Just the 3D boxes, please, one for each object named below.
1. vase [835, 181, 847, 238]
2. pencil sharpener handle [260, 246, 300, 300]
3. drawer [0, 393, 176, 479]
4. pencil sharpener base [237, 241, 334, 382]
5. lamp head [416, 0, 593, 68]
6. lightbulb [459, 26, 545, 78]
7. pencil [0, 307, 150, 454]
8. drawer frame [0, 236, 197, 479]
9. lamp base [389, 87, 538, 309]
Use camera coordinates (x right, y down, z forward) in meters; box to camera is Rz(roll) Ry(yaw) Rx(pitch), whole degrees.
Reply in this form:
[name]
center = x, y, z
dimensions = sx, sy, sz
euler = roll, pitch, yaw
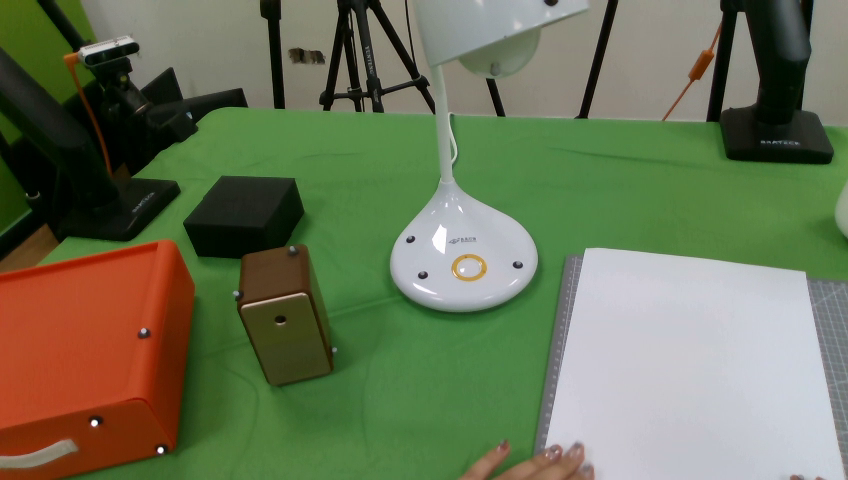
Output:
[vase]
center = 0.466, -0.082, 0.570
dimensions = 0.098, 0.202, 0.097
euler = -5, 37, 4
[pencil sharpener handle]
center = -0.137, 0.026, 0.586
dimensions = 0.036, 0.068, 0.030
euler = -7, 38, -9
[drawer]
center = -0.324, 0.109, 0.554
dimensions = 0.195, 0.074, 0.209
euler = -13, 37, -6
[pencil sharpener base]
center = -0.124, 0.065, 0.554
dimensions = 0.061, 0.108, 0.076
euler = -12, 38, -5
[lamp head]
center = 0.038, -0.185, 0.391
dimensions = 0.112, 0.123, 0.112
euler = -20, 9, 4
[lightbulb]
center = 0.046, -0.160, 0.391
dimensions = 0.059, 0.108, 0.059
euler = -9, 14, 3
[pencil]
center = -0.316, 0.130, 0.532
dimensions = 0.012, 0.012, 0.193
euler = 22, 59, 32
[drawer frame]
center = -0.327, 0.106, 0.555
dimensions = 0.202, 0.083, 0.211
euler = -13, 38, -6
[lamp base]
center = 0.031, -0.051, 0.616
dimensions = 0.161, 0.182, 0.177
euler = -14, 37, -8
